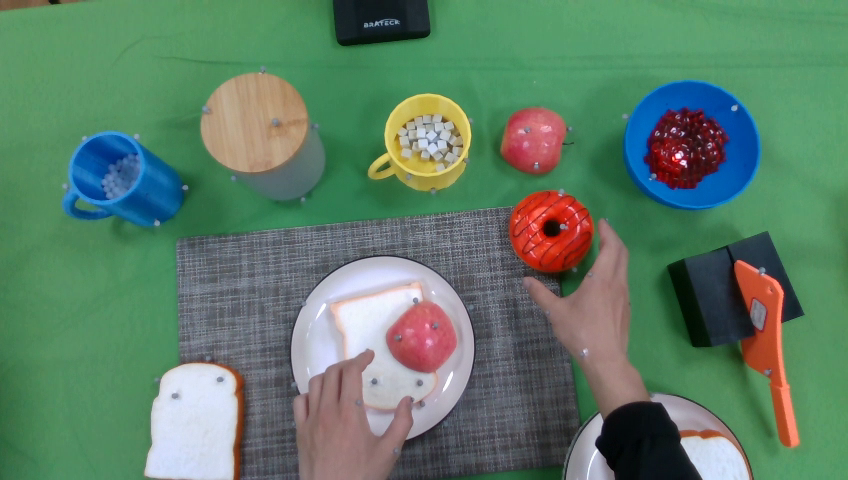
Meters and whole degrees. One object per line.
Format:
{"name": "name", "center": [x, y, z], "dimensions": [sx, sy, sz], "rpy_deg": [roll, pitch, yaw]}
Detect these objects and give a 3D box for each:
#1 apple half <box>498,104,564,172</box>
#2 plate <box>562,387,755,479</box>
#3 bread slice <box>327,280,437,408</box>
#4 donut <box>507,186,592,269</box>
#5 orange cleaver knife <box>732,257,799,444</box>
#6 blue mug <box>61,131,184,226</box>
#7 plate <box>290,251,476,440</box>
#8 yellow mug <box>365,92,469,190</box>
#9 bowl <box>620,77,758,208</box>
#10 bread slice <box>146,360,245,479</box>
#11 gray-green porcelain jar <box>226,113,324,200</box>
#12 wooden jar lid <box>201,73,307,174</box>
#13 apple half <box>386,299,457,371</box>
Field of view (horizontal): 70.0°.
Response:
{"name": "apple half", "center": [0.130, -0.128, 0.726], "dimensions": [0.074, 0.053, 0.080], "rpy_deg": [16, 81, 6]}
{"name": "plate", "center": [0.252, 0.267, 0.664], "dimensions": [0.209, 0.038, 0.208], "rpy_deg": [0, 80, 0]}
{"name": "bread slice", "center": [-0.039, 0.120, 0.687], "dimensions": [0.107, 0.018, 0.134], "rpy_deg": [-17, 82, -3]}
{"name": "donut", "center": [0.145, -0.015, 0.707], "dimensions": [0.099, 0.048, 0.098], "rpy_deg": [0, 81, 0]}
{"name": "orange cleaver knife", "center": [0.374, 0.121, 0.666], "dimensions": [0.012, 0.077, 0.212], "rpy_deg": [-17, 102, -9]}
{"name": "blue mug", "center": [-0.349, -0.058, 0.689], "dimensions": [0.116, 0.106, 0.082], "rpy_deg": [-32, 81, -5]}
{"name": "plate", "center": [-0.045, 0.117, 0.688], "dimensions": [0.208, 0.039, 0.207], "rpy_deg": [0, 80, 0]}
{"name": "yellow mug", "center": [-0.011, -0.108, 0.716], "dimensions": [0.131, 0.064, 0.099], "rpy_deg": [-30, 81, -4]}
{"name": "bowl", "center": [0.295, -0.104, 0.708], "dimensions": [0.151, 0.077, 0.151], "rpy_deg": [0, 81, 1]}
{"name": "bread slice", "center": [-0.256, 0.202, 0.684], "dimensions": [0.105, 0.019, 0.131], "rpy_deg": [1, 81, 0]}
{"name": "gray-green porcelain jar", "center": [-0.173, -0.106, 0.686], "dimensions": [0.106, 0.127, 0.105], "rpy_deg": [0, 79, 0]}
{"name": "wooden jar lid", "center": [-0.174, -0.118, 0.625], "dimensions": [0.108, 0.021, 0.108], "rpy_deg": [0, 78, 1]}
{"name": "apple half", "center": [0.000, 0.105, 0.667], "dimensions": [0.081, 0.033, 0.081], "rpy_deg": [0, 78, 0]}
